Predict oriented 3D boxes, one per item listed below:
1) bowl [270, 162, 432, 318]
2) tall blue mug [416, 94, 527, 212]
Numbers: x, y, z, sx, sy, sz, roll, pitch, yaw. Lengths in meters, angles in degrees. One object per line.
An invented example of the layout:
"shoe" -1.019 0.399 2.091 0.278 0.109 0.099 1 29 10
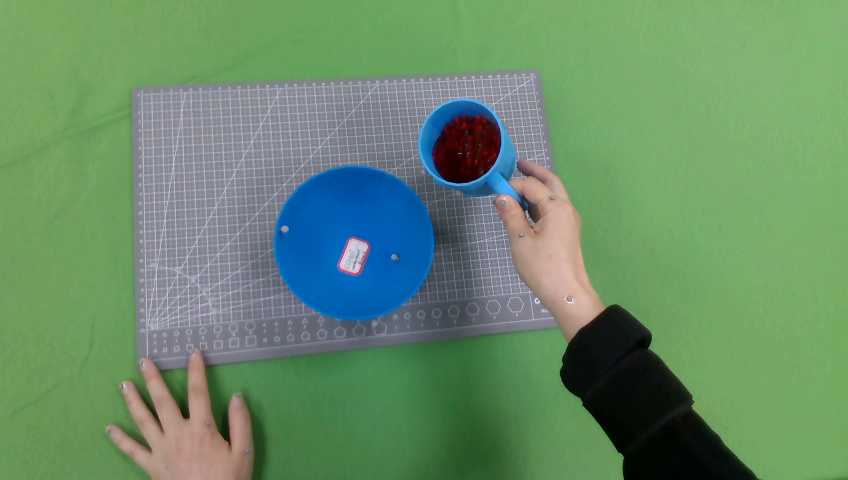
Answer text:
"bowl" -0.070 0.006 0.600 0.152 0.077 0.150 2 78 -7
"tall blue mug" 0.056 -0.079 0.565 0.107 0.108 0.078 22 94 12
